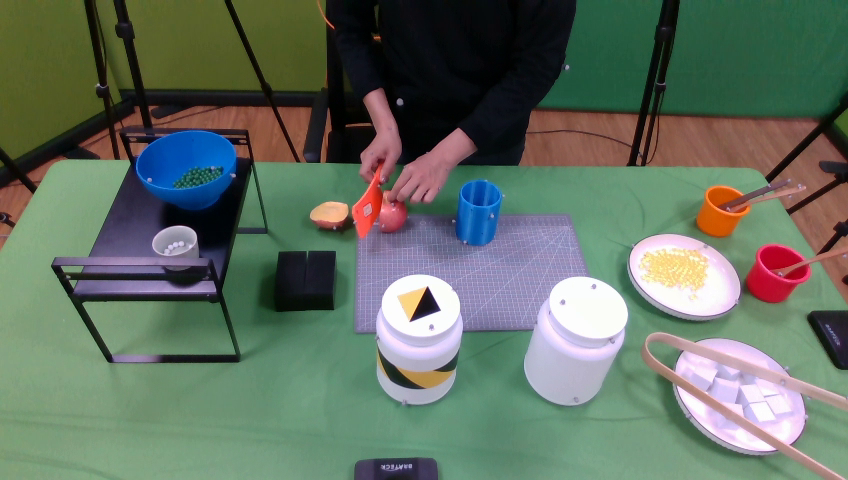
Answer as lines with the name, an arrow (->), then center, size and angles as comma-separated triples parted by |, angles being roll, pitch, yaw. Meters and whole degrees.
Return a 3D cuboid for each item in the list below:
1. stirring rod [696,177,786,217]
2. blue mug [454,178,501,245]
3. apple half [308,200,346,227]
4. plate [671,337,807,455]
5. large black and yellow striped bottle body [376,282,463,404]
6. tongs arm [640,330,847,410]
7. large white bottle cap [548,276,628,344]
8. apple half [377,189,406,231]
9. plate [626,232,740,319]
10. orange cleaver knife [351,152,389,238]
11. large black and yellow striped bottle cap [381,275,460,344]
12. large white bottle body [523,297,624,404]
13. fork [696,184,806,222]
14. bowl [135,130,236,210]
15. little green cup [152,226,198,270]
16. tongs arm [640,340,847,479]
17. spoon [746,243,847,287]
stirring rod -> 0.648, -0.087, 1.244 | 0.176, 0.006, 0.014 | -25, 50, 29
blue mug -> 0.106, -0.067, 1.208 | 0.082, 0.106, 0.116 | 5, 46, 1
apple half -> -0.190, -0.048, 1.220 | 0.081, 0.033, 0.081 | -3, 34, 2
plate -> 0.504, 0.254, 0.984 | 0.208, 0.039, 0.206 | 2, 46, -2
large black and yellow striped bottle body -> -0.010, 0.155, 0.937 | 0.131, 0.185, 0.130 | 2, 47, -2
tongs arm -> 0.543, 0.225, 0.969 | 0.384, 0.026, 0.050 | 22, 52, 13
large white bottle cap -> 0.240, 0.100, 0.890 | 0.115, 0.018, 0.114 | 3, 47, -3
apple half -> -0.064, -0.057, 1.207 | 0.053, 0.075, 0.080 | 7, 42, -3
plate -> 0.488, 0.071, 1.157 | 0.209, 0.038, 0.208 | 3, 46, -3
orange cleaver knife -> -0.102, -0.095, 1.219 | 0.012, 0.077, 0.210 | -1, 45, 22
large black and yellow striped bottle cap -> -0.005, 0.098, 0.875 | 0.115, 0.019, 0.114 | 2, 45, -2
large white bottle body -> 0.235, 0.159, 0.952 | 0.131, 0.185, 0.130 | 2, 47, -2
fork -> 0.658, -0.074, 1.229 | 0.207, 0.019, 0.028 | -24, 33, 36
bowl -> -0.375, -0.102, 0.978 | 0.151, 0.077, 0.150 | 3, 46, -2
little green cup -> -0.364, 0.013, 0.894 | 0.061, 0.039, 0.061 | 3, 46, -3
tongs arm -> 0.500, 0.277, 0.919 | 0.386, 0.028, 0.028 | 34, 59, 22
spoon -> 0.702, 0.043, 1.126 | 0.194, 0.022, 0.041 | -29, 38, 30
